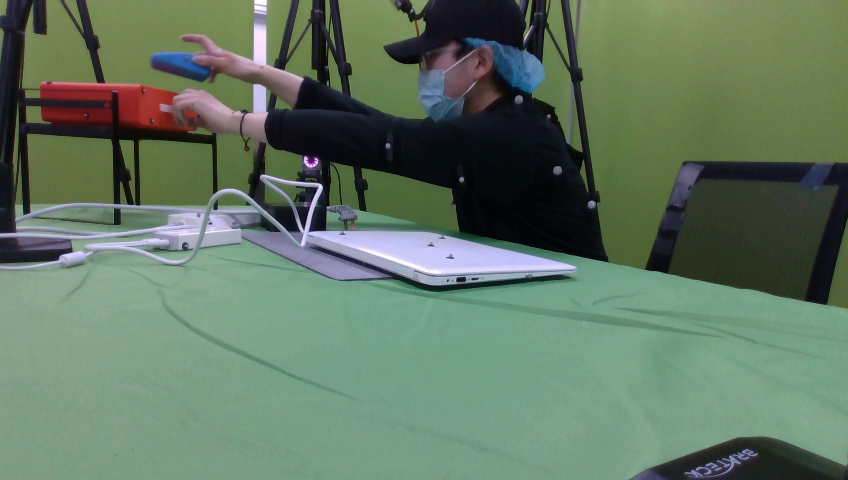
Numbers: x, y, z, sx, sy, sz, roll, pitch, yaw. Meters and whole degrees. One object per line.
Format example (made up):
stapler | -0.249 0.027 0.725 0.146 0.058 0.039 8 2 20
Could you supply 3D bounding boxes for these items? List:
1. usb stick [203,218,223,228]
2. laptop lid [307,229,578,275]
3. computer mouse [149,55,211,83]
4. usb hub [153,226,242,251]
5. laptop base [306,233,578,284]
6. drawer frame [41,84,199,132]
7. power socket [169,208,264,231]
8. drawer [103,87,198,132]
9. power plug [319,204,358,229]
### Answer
usb stick | -0.346 -0.018 1.009 0.027 0.021 0.059 45 -8 1
laptop lid | 0.009 0.010 0.850 0.243 0.013 0.355 0 8 -32
computer mouse | -0.502 -0.358 1.247 0.118 0.041 0.062 5 -2 -30
usb hub | -0.337 -0.003 0.907 0.049 0.025 0.125 6 9 28
laptop base | 0.007 0.022 0.850 0.237 0.023 0.352 1 7 -34
drawer frame | -0.605 -0.265 1.225 0.213 0.082 0.202 3 8 8
power socket | -0.381 -0.038 1.128 0.072 0.032 0.227 4 8 16
drawer | -0.602 -0.262 1.226 0.211 0.073 0.195 3 8 10
power plug | -0.168 -0.045 1.205 0.072 0.052 0.035 -8 -7 3
